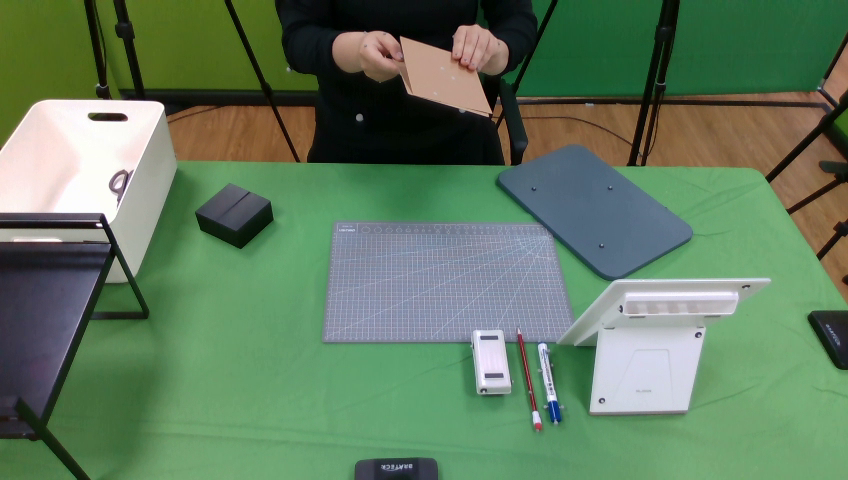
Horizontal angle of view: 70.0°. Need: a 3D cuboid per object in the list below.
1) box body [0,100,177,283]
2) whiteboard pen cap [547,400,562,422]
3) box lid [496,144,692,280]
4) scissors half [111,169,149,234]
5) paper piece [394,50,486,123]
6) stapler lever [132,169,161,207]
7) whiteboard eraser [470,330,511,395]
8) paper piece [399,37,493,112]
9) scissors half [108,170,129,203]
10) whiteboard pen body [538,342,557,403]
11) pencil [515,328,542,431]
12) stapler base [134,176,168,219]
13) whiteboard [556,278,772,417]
[{"bbox_3d":[-0.640,-0.095,1.140,0.254,0.161,0.361,1,46,-4],"label":"box body"},{"bbox_3d":[0.205,0.269,0.956,0.018,0.018,0.033,0,47,-5],"label":"whiteboard pen cap"},{"bbox_3d":[0.360,-0.074,1.305,0.263,0.015,0.369,-24,52,-25],"label":"box lid"},{"bbox_3d":[-0.596,-0.079,1.223,0.040,0.013,0.174,5,51,2],"label":"scissors half"},{"bbox_3d":[0.024,-0.242,0.941,0.136,0.008,0.137,15,39,-28],"label":"paper piece"},{"bbox_3d":[-0.557,-0.113,1.218,0.027,0.040,0.117,1,42,-8],"label":"stapler lever"},{"bbox_3d":[0.110,0.202,0.998,0.055,0.042,0.112,1,46,-5],"label":"whiteboard eraser"},{"bbox_3d":[0.033,-0.254,0.932,0.136,0.004,0.135,8,50,-26],"label":"paper piece"},{"bbox_3d":[-0.617,-0.077,1.222,0.040,0.013,0.174,-15,52,-7],"label":"scissors half"},{"bbox_3d":[0.205,0.228,0.997,0.017,0.017,0.140,1,47,-3],"label":"whiteboard pen body"},{"bbox_3d":[0.169,0.224,1.002,0.012,0.012,0.192,-2,46,-6],"label":"pencil"},{"bbox_3d":[-0.558,-0.093,1.234,0.041,0.024,0.129,1,42,-8],"label":"stapler base"},{"bbox_3d":[0.347,0.174,0.903,0.217,0.306,0.143,1,65,-4],"label":"whiteboard"}]
